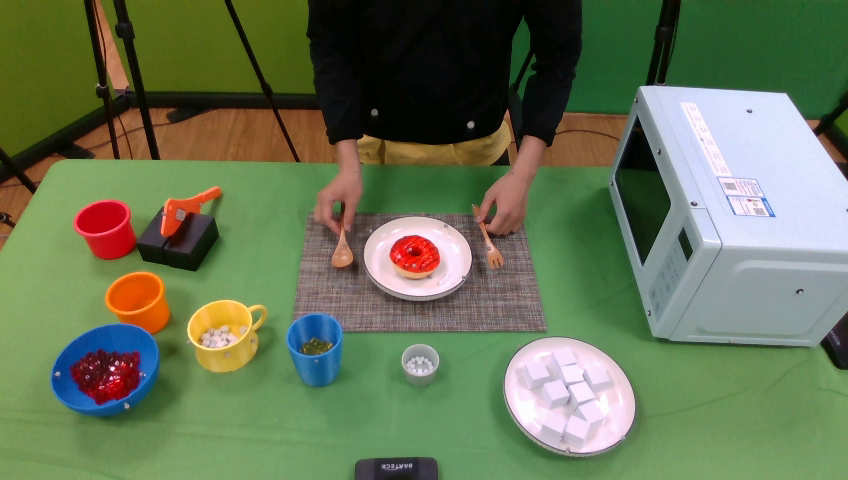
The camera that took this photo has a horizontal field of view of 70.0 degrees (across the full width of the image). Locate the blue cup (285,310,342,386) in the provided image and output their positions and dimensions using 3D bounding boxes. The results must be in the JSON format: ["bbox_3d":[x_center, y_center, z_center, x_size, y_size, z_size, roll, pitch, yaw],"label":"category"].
[{"bbox_3d":[-0.170,0.179,0.958,0.093,0.101,0.092,2,44,-1],"label":"blue cup"}]

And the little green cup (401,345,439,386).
[{"bbox_3d":[-0.007,0.206,0.988,0.061,0.039,0.061,2,46,-2],"label":"little green cup"}]

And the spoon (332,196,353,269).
[{"bbox_3d":[-0.157,-0.019,1.180,0.041,0.022,0.192,-11,52,9],"label":"spoon"}]

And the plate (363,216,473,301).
[{"bbox_3d":[-0.012,0.038,1.144,0.209,0.038,0.208,2,46,-2],"label":"plate"}]

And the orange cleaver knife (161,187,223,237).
[{"bbox_3d":[-0.448,-0.058,1.181,0.012,0.077,0.211,13,17,6],"label":"orange cleaver knife"}]

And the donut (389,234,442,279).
[{"bbox_3d":[-0.016,0.031,1.135,0.099,0.048,0.098,4,44,-3],"label":"donut"}]

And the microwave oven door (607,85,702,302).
[{"bbox_3d":[0.423,-0.094,1.141,0.039,0.245,0.353,2,46,-1],"label":"microwave oven door"}]

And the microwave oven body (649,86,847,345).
[{"bbox_3d":[0.568,-0.053,1.118,0.326,0.261,0.439,2,45,-1],"label":"microwave oven body"}]

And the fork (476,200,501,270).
[{"bbox_3d":[0.123,-0.015,1.185,0.018,0.028,0.206,-2,40,-11],"label":"fork"}]

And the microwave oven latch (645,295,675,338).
[{"bbox_3d":[0.412,0.134,1.061,0.030,0.029,0.078,3,45,0],"label":"microwave oven latch"}]

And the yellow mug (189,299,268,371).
[{"bbox_3d":[-0.316,0.148,1.002,0.131,0.064,0.099,-32,56,-31],"label":"yellow mug"}]

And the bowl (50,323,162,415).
[{"bbox_3d":[-0.472,0.209,0.924,0.151,0.077,0.150,3,45,-2],"label":"bowl"}]

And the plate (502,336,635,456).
[{"bbox_3d":[0.225,0.248,0.963,0.208,0.039,0.206,2,46,-2],"label":"plate"}]
